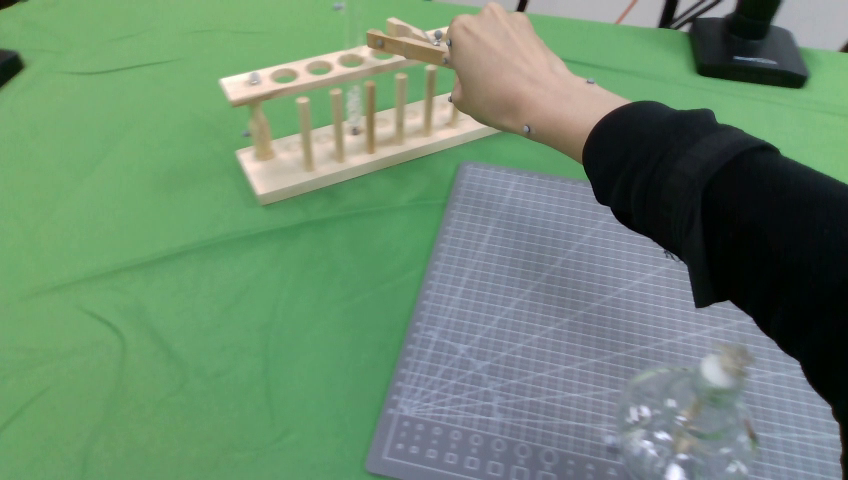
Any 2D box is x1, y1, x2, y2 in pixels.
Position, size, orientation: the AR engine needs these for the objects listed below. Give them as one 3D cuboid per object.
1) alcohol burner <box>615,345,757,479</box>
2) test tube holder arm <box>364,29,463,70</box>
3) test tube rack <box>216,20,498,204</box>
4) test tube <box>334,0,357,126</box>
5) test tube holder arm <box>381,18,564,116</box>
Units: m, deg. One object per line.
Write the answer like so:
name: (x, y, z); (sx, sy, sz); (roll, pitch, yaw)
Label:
alcohol burner: (0.149, 0.092, 0.334); (0.078, 0.120, 0.077); (0, 49, 0)
test tube holder arm: (-0.008, -0.148, 0.470); (0.087, 0.015, 0.010); (19, 51, 21)
test tube rack: (-0.048, -0.119, 0.542); (0.243, 0.086, 0.066); (-20, 52, -20)
test tube: (-0.066, -0.161, 0.513); (0.017, 0.151, 0.017); (3, 44, -2)
test tube holder arm: (0.030, -0.133, 0.453); (0.177, 0.015, 0.013); (33, 58, 30)
